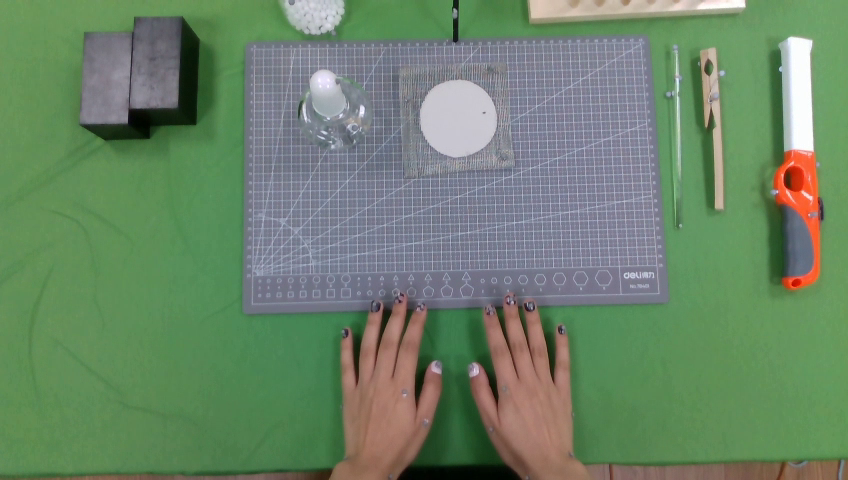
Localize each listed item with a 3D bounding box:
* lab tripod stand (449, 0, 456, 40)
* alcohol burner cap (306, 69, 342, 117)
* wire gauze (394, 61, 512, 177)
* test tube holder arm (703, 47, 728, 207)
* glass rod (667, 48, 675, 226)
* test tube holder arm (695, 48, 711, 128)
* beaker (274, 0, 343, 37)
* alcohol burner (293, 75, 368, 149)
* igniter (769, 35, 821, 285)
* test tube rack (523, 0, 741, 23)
[{"bbox_3d":[0.022,-0.305,0.624,0.148,0.132,0.148,0,82,1],"label":"lab tripod stand"},{"bbox_3d":[-0.096,-0.142,0.573,0.034,0.048,0.033,1,73,-3],"label":"alcohol burner cap"},{"bbox_3d":[0.031,-0.134,0.664,0.121,0.011,0.125,-4,86,-2],"label":"wire gauze"},{"bbox_3d":[0.317,-0.124,0.661,0.013,0.015,0.177,-10,79,36],"label":"test tube holder arm"},{"bbox_3d":[0.273,-0.115,0.668,0.008,0.008,0.199,1,86,-1],"label":"glass rod"},{"bbox_3d":[0.310,-0.168,0.671,0.010,0.015,0.087,-8,81,36],"label":"test tube holder arm"},{"bbox_3d":[-0.128,-0.267,0.635,0.084,0.100,0.074,17,82,2],"label":"beaker"},{"bbox_3d":[-0.096,-0.135,0.609,0.078,0.119,0.077,0,80,1],"label":"alcohol burner"},{"bbox_3d":[0.401,-0.088,0.656,0.057,0.025,0.275,5,82,-10],"label":"igniter"},{"bbox_3d":[0.233,-0.292,0.651,0.242,0.085,0.066,-4,82,-1],"label":"test tube rack"}]
